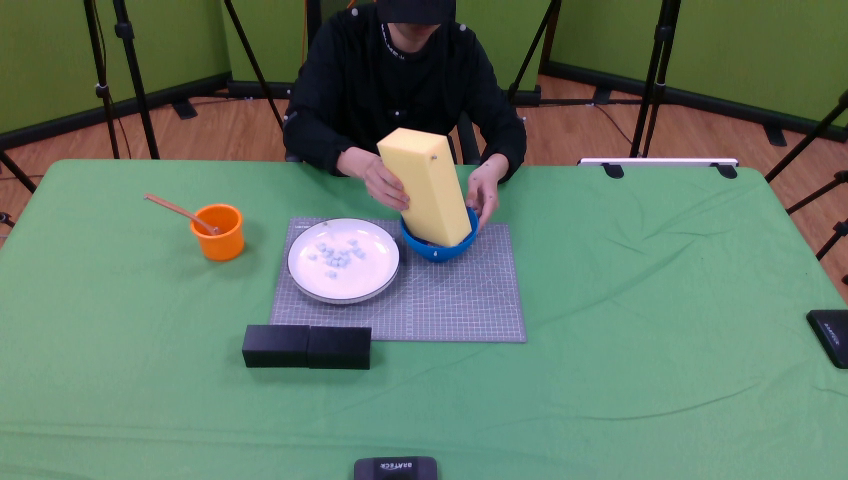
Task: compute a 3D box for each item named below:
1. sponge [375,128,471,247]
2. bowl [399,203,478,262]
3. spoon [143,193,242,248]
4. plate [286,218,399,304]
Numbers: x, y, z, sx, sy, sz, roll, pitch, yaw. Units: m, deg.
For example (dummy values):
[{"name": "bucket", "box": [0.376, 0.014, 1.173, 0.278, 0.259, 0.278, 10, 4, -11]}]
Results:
[{"name": "sponge", "box": [0.001, -0.092, 1.085, 0.117, 0.208, 0.061, 20, 52, 40]}, {"name": "bowl", "box": [0.025, -0.011, 1.167, 0.151, 0.077, 0.150, 3, 45, -3]}, {"name": "spoon", "box": [-0.421, -0.037, 1.113, 0.021, 0.195, 0.041, -37, 37, 23]}, {"name": "plate", "box": [-0.150, 0.041, 1.131, 0.209, 0.038, 0.208, 2, 45, -2]}]
